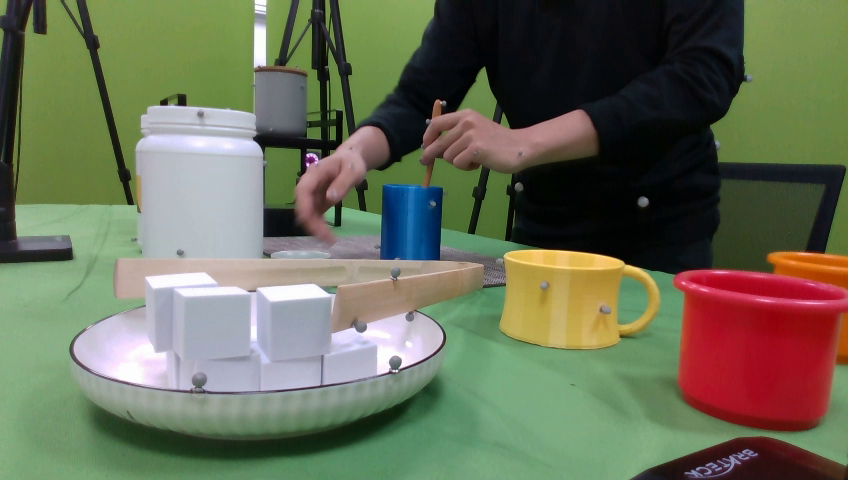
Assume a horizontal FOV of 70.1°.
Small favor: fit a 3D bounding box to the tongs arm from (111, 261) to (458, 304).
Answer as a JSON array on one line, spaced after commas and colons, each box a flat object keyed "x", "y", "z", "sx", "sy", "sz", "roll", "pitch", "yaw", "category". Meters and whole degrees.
[{"x": -0.080, "y": 0.032, "z": 0.527, "sx": 0.028, "sy": 0.027, "sz": 0.389, "roll": -3, "pitch": -3, "yaw": 33, "category": "tongs arm"}]

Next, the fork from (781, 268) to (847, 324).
[{"x": 0.324, "y": 0.018, "z": 0.442, "sx": 0.028, "sy": 0.018, "sz": 0.207, "roll": -3, "pitch": -36, "yaw": -5, "category": "fork"}]

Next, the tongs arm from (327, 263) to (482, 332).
[{"x": -0.003, "y": 0.036, "z": 0.493, "sx": 0.050, "sy": 0.026, "sz": 0.386, "roll": 1, "pitch": 0, "yaw": 19, "category": "tongs arm"}]

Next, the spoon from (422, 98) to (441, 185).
[{"x": 0.004, "y": -0.095, "z": 0.822, "sx": 0.041, "sy": 0.193, "sz": 0.022, "roll": 19, "pitch": 15, "yaw": 40, "category": "spoon"}]

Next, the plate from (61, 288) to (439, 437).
[{"x": -0.095, "y": 0.069, "z": 0.362, "sx": 0.208, "sy": 0.039, "sz": 0.207, "roll": 3, "pitch": 7, "yaw": 0, "category": "plate"}]

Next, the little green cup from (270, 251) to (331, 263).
[{"x": -0.129, "y": 0.034, "z": 0.629, "sx": 0.061, "sy": 0.038, "sz": 0.061, "roll": 3, "pitch": 7, "yaw": 0, "category": "little green cup"}]

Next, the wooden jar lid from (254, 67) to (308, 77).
[{"x": -0.296, "y": -0.339, "z": 1.251, "sx": 0.108, "sy": 0.020, "sz": 0.108, "roll": 1, "pitch": 7, "yaw": 0, "category": "wooden jar lid"}]

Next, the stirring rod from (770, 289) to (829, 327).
[{"x": 0.349, "y": 0.022, "z": 0.468, "sx": 0.014, "sy": 0.006, "sz": 0.175, "roll": -12, "pitch": -26, "yaw": -50, "category": "stirring rod"}]

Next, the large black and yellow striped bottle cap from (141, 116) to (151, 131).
[{"x": -0.328, "y": -0.158, "z": 0.837, "sx": 0.115, "sy": 0.019, "sz": 0.115, "roll": 2, "pitch": 6, "yaw": 0, "category": "large black and yellow striped bottle cap"}]

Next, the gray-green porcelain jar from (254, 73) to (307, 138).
[{"x": -0.298, "y": -0.277, "z": 1.259, "sx": 0.106, "sy": 0.126, "sz": 0.106, "roll": 3, "pitch": 8, "yaw": 0, "category": "gray-green porcelain jar"}]

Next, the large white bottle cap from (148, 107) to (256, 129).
[{"x": -0.250, "y": -0.137, "z": 0.686, "sx": 0.115, "sy": 0.018, "sz": 0.115, "roll": 2, "pitch": 8, "yaw": 0, "category": "large white bottle cap"}]

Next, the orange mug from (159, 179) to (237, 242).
[{"x": -0.368, "y": -0.052, "z": 0.991, "sx": 0.127, "sy": 0.101, "sz": 0.083, "roll": -10, "pitch": 14, "yaw": -41, "category": "orange mug"}]

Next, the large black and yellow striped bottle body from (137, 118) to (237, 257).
[{"x": -0.330, "y": -0.075, "z": 0.849, "sx": 0.131, "sy": 0.184, "sz": 0.130, "roll": 2, "pitch": 8, "yaw": 0, "category": "large black and yellow striped bottle body"}]

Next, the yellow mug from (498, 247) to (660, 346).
[{"x": 0.130, "y": 0.045, "z": 0.508, "sx": 0.131, "sy": 0.064, "sz": 0.100, "roll": 4, "pitch": 7, "yaw": 6, "category": "yellow mug"}]

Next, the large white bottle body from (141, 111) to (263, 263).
[{"x": -0.254, "y": -0.053, "z": 0.697, "sx": 0.131, "sy": 0.184, "sz": 0.130, "roll": 2, "pitch": 7, "yaw": 0, "category": "large white bottle body"}]

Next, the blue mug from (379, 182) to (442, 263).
[{"x": -0.019, "y": -0.026, "z": 0.832, "sx": 0.082, "sy": 0.106, "sz": 0.116, "roll": 1, "pitch": 7, "yaw": -5, "category": "blue mug"}]
